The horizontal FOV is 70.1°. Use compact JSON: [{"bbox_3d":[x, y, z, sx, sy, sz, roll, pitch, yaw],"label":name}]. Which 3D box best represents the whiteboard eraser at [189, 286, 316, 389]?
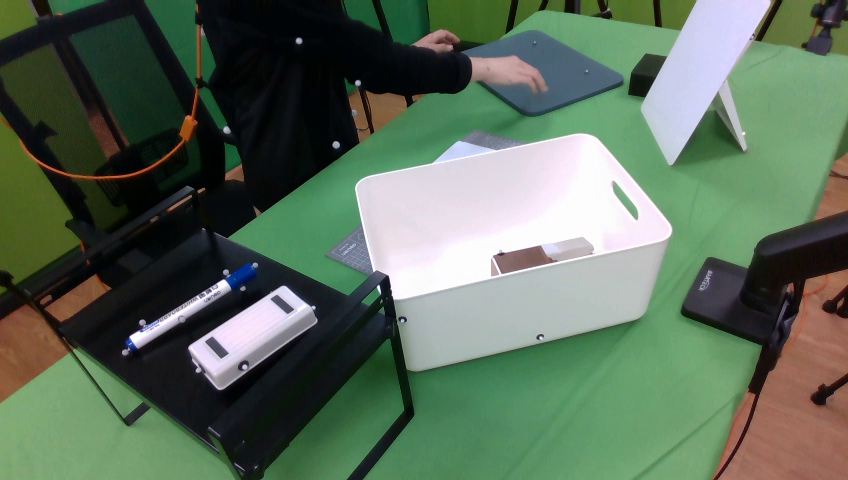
[{"bbox_3d":[-0.166,0.096,0.593,0.113,0.042,0.055,-36,47,-29],"label":"whiteboard eraser"}]

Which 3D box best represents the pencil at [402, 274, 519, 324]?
[{"bbox_3d":[0.056,0.082,0.870,0.195,0.012,0.012,-20,42,-20],"label":"pencil"}]

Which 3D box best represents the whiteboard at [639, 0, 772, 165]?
[{"bbox_3d":[0.543,-0.298,1.076,0.144,0.305,0.216,12,40,-7],"label":"whiteboard"}]

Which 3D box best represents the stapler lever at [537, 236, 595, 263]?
[{"bbox_3d":[0.194,0.017,0.874,0.118,0.040,0.026,-20,44,-18],"label":"stapler lever"}]

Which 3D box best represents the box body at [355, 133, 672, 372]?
[{"bbox_3d":[0.108,0.013,0.834,0.365,0.161,0.252,-12,41,-6],"label":"box body"}]

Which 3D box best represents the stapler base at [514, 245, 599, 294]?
[{"bbox_3d":[0.195,0.038,0.891,0.131,0.024,0.041,-21,45,-16],"label":"stapler base"}]

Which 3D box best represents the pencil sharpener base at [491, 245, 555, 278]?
[{"bbox_3d":[0.134,0.068,0.801,0.077,0.107,0.061,-13,42,-7],"label":"pencil sharpener base"}]

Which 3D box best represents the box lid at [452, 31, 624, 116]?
[{"bbox_3d":[0.256,-0.401,1.419,0.264,0.015,0.368,-22,43,-17],"label":"box lid"}]

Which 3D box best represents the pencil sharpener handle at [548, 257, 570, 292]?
[{"bbox_3d":[0.182,0.046,0.801,0.031,0.068,0.035,-13,54,-7],"label":"pencil sharpener handle"}]

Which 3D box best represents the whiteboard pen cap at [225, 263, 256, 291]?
[{"bbox_3d":[-0.204,0.041,0.668,0.033,0.018,0.018,-36,48,-22],"label":"whiteboard pen cap"}]

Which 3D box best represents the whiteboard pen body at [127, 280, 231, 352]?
[{"bbox_3d":[-0.248,0.072,0.645,0.141,0.017,0.017,-35,47,-23],"label":"whiteboard pen body"}]
